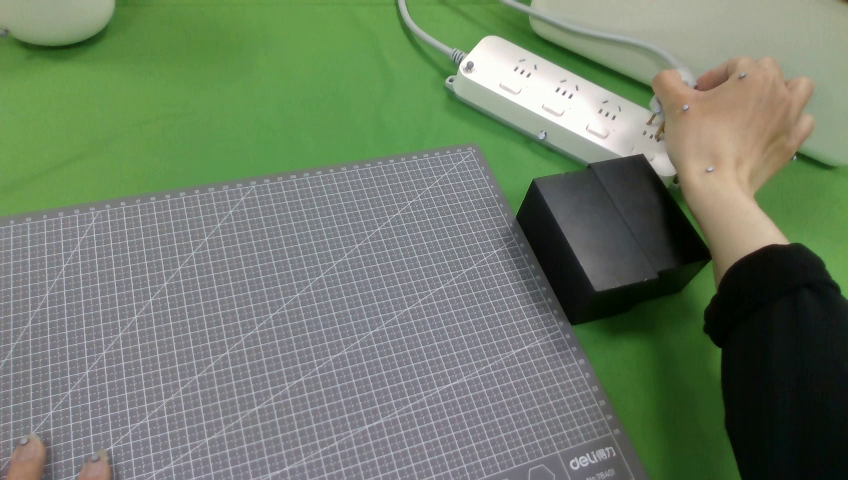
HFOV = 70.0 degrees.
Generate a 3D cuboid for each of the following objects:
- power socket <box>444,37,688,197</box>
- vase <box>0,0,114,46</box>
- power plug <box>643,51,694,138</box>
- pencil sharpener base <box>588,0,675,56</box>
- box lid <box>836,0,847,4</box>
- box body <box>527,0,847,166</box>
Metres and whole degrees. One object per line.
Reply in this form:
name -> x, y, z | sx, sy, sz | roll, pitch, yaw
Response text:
power socket -> 0.128, -0.113, 0.540 | 0.226, 0.033, 0.072 | 30, 55, 11
vase -> -0.302, -0.247, 0.449 | 0.098, 0.201, 0.097 | 6, 53, -7
power plug -> 0.211, -0.122, 0.521 | 0.035, 0.053, 0.072 | 29, 44, 1
pencil sharpener base -> 0.219, -0.252, 0.597 | 0.061, 0.108, 0.076 | 33, 55, 12
box lid -> 0.322, -0.299, 0.535 | 0.370, 0.015, 0.262 | 27, 56, 8
box body -> 0.310, -0.258, 0.595 | 0.363, 0.161, 0.253 | 27, 55, 8
